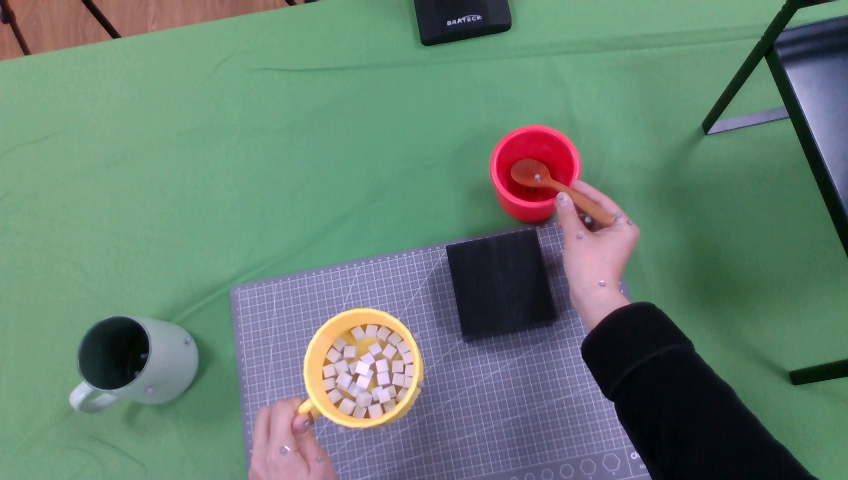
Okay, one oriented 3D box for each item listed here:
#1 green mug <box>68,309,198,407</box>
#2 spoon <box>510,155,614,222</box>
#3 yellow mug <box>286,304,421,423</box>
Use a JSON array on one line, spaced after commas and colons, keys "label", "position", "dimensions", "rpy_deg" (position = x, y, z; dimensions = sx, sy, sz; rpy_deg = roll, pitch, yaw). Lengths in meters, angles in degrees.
[{"label": "green mug", "position": [-0.318, 0.133, 0.650], "dimensions": [0.125, 0.105, 0.092], "rpy_deg": [-43, 75, -8]}, {"label": "spoon", "position": [0.142, -0.057, 0.643], "dimensions": [0.041, 0.192, 0.022], "rpy_deg": [-25, 116, -7]}, {"label": "yellow mug", "position": [-0.067, 0.121, 0.539], "dimensions": [0.131, 0.064, 0.099], "rpy_deg": [-36, 76, -8]}]
